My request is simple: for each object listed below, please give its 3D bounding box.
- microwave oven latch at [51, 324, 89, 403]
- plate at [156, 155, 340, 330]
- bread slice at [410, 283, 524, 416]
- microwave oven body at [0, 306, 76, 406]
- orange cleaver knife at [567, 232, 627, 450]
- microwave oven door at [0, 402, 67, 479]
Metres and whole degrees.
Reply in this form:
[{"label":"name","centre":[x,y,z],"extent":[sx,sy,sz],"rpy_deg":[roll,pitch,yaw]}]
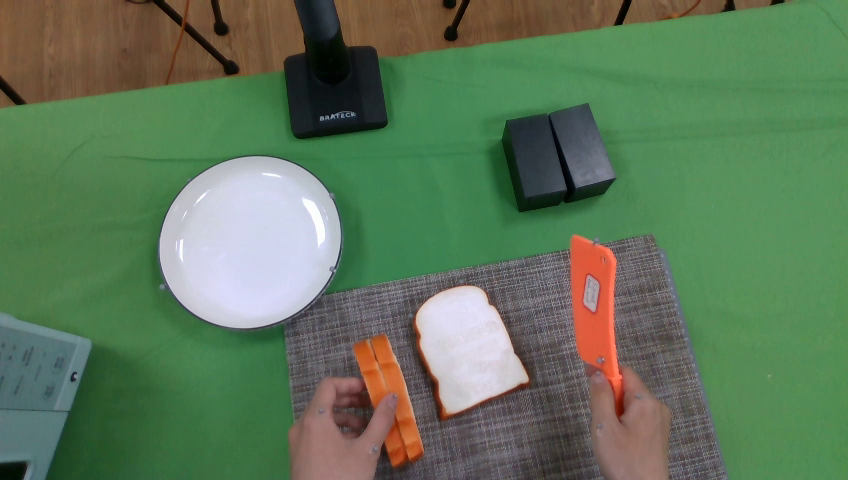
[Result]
[{"label":"microwave oven latch","centre":[-0.386,0.131,0.645],"extent":[0.030,0.029,0.079],"rpy_deg":[14,75,3]},{"label":"plate","centre":[-0.199,0.003,0.704],"extent":[0.208,0.039,0.206],"rpy_deg":[0,74,-1]},{"label":"bread slice","centre":[0.045,0.116,0.683],"extent":[0.107,0.018,0.134],"rpy_deg":[-17,84,-11]},{"label":"microwave oven body","centre":[-0.567,0.240,0.511],"extent":[0.326,0.261,0.439],"rpy_deg":[12,75,2]},{"label":"orange cleaver knife","centre":[0.167,0.097,0.595],"extent":[0.012,0.077,0.211],"rpy_deg":[-9,95,-21]},{"label":"microwave oven door","centre":[-0.432,0.307,0.489],"extent":[0.039,0.245,0.354],"rpy_deg":[11,74,3]}]
